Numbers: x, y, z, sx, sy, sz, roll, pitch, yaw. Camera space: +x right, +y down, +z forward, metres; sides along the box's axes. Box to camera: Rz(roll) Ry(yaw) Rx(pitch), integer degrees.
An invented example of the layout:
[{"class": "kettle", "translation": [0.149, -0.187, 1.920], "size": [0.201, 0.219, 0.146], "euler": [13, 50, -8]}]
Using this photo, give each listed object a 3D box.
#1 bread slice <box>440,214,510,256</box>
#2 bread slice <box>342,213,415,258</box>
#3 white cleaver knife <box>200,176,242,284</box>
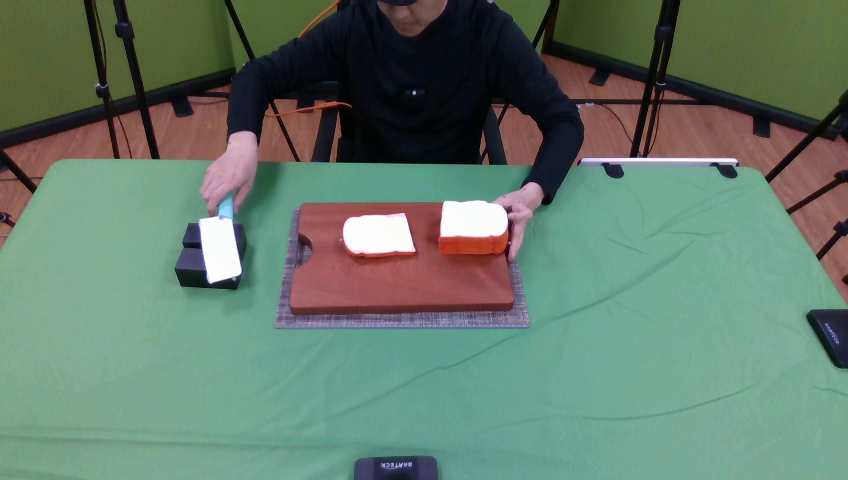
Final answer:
[{"class": "bread slice", "translation": [0.099, -0.010, 1.180], "size": [0.134, 0.018, 0.106], "euler": [2, 47, 14]}, {"class": "bread slice", "translation": [-0.091, -0.008, 1.154], "size": [0.132, 0.019, 0.104], "euler": [-3, 48, -14]}, {"class": "white cleaver knife", "translation": [-0.386, -0.028, 1.136], "size": [0.066, 0.021, 0.284], "euler": [-9, 45, -16]}]
